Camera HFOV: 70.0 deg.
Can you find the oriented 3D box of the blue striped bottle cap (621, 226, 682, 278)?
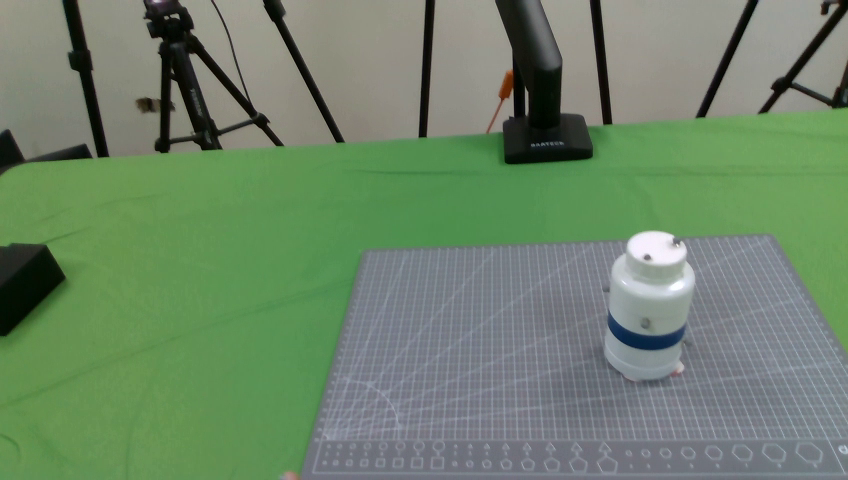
[{"bbox_3d":[0.176,0.009,0.470,0.044,0.021,0.044,-4,37,3],"label":"blue striped bottle cap"}]

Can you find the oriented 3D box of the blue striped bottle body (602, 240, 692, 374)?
[{"bbox_3d":[0.183,0.049,0.500,0.063,0.122,0.062,-5,38,4],"label":"blue striped bottle body"}]
